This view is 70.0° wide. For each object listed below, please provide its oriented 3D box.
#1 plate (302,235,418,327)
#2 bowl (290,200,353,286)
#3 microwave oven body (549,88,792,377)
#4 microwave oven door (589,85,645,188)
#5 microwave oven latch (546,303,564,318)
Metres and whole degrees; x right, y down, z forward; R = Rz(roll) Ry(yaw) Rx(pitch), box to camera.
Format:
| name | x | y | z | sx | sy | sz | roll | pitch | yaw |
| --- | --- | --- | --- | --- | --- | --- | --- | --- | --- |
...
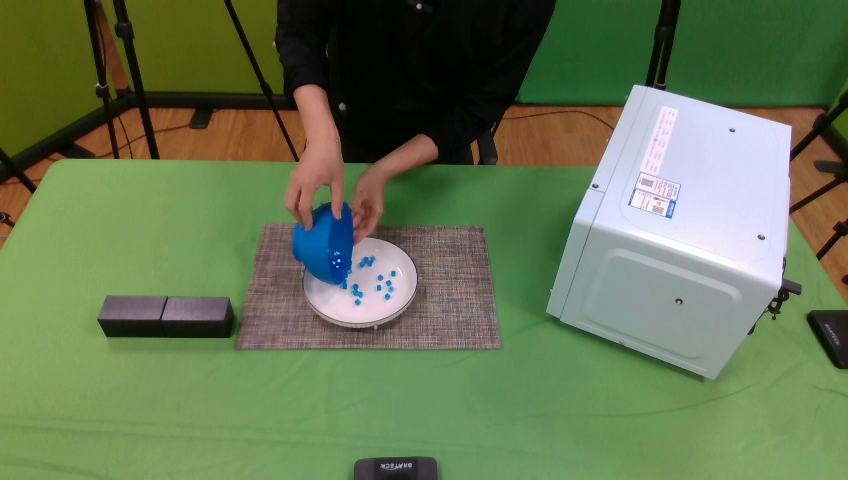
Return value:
| name | x | y | z | sx | sy | sz | roll | pitch | yaw |
| --- | --- | --- | --- | --- | --- | --- | --- | --- | --- |
| plate | -0.115 | 0.076 | 1.098 | 0.208 | 0.039 | 0.206 | 2 | 46 | -2 |
| bowl | -0.183 | 0.003 | 1.057 | 0.077 | 0.152 | 0.150 | 5 | 45 | 10 |
| microwave oven body | 0.456 | -0.028 | 1.088 | 0.325 | 0.261 | 0.440 | 20 | 47 | 16 |
| microwave oven door | 0.342 | -0.107 | 1.149 | 0.039 | 0.245 | 0.354 | 20 | 48 | 15 |
| microwave oven latch | 0.242 | 0.102 | 1.081 | 0.030 | 0.029 | 0.079 | 21 | 48 | 17 |
